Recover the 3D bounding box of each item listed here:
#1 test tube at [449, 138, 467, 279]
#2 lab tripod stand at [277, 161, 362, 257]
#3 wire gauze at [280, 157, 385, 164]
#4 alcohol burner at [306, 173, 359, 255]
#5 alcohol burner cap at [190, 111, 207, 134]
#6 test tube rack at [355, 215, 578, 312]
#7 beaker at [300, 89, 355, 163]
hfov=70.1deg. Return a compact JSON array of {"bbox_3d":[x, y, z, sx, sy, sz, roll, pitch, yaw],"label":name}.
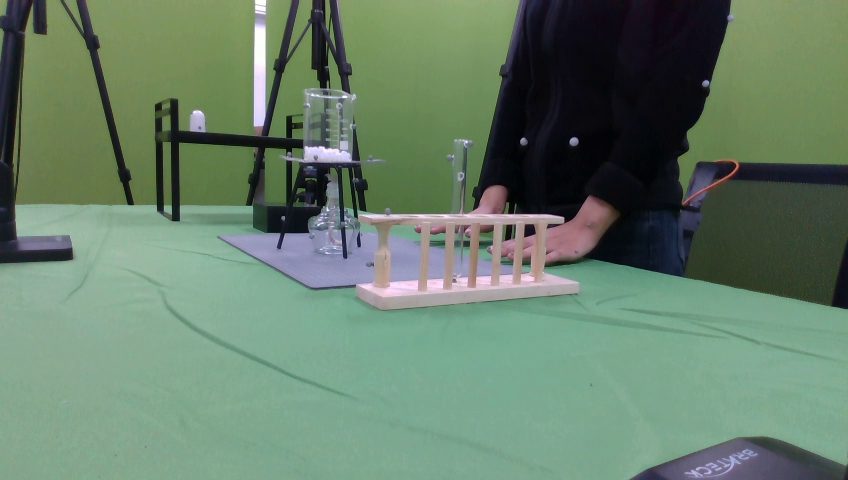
[{"bbox_3d":[0.035,-0.033,0.645,0.017,0.150,0.017,3,4,0],"label":"test tube"},{"bbox_3d":[-0.143,-0.049,0.884,0.148,0.131,0.148,1,9,0],"label":"lab tripod stand"},{"bbox_3d":[-0.134,-0.113,0.875,0.122,0.011,0.124,-1,6,-30],"label":"wire gauze"},{"bbox_3d":[-0.133,-0.038,0.883,0.078,0.119,0.078,1,6,0],"label":"alcohol burner"},{"bbox_3d":[-0.469,-0.244,1.257,0.034,0.048,0.034,2,7,0],"label":"alcohol burner cap"},{"bbox_3d":[0.053,0.018,0.641,0.243,0.085,0.066,-1,8,-29],"label":"test tube rack"},{"bbox_3d":[-0.136,-0.161,0.867,0.083,0.100,0.074,5,8,24],"label":"beaker"}]
